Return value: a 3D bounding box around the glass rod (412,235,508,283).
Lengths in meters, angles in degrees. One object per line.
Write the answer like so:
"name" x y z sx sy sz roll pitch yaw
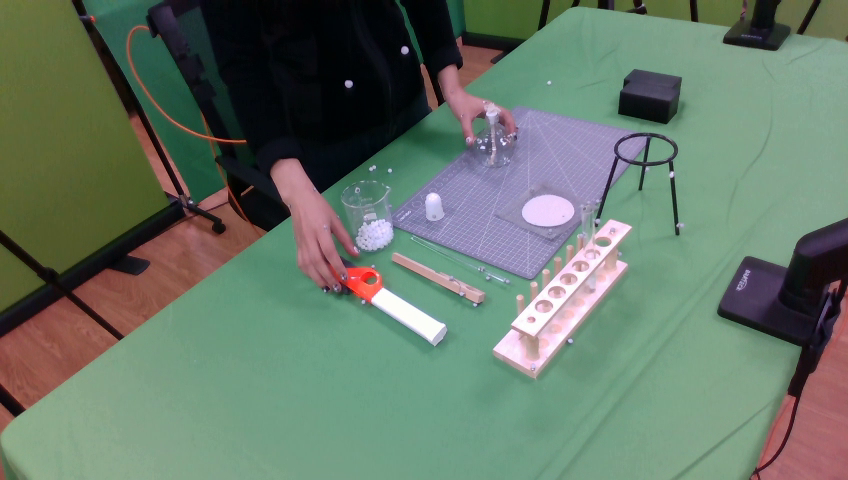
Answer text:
"glass rod" 0.051 0.028 0.951 0.198 0.008 0.008 25 52 37

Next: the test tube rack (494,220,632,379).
"test tube rack" 0.191 0.068 0.818 0.066 0.085 0.243 25 51 35

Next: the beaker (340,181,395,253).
"beaker" -0.087 -0.037 0.985 0.084 0.101 0.073 -18 41 -11

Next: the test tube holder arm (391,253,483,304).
"test tube holder arm" 0.016 0.055 0.916 0.177 0.015 0.013 24 17 34

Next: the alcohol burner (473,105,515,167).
"alcohol burner" 0.128 -0.196 1.116 0.078 0.119 0.077 -4 39 4

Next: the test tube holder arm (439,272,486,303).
"test tube holder arm" 0.053 0.070 0.896 0.087 0.015 0.010 24 18 34

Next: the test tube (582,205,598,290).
"test tube" 0.220 0.014 0.798 0.017 0.151 0.017 -9 43 9

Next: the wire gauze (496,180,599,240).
"wire gauze" 0.206 -0.050 1.012 0.125 0.011 0.120 -34 45 -26

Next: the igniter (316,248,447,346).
"igniter" -0.074 0.078 0.901 0.274 0.025 0.057 29 63 36

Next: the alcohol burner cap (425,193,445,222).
"alcohol burner cap" 0.017 -0.058 1.029 0.034 0.048 0.033 -5 40 5

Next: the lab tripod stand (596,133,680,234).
"lab tripod stand" 0.338 -0.090 0.940 0.148 0.132 0.147 -7 39 6
